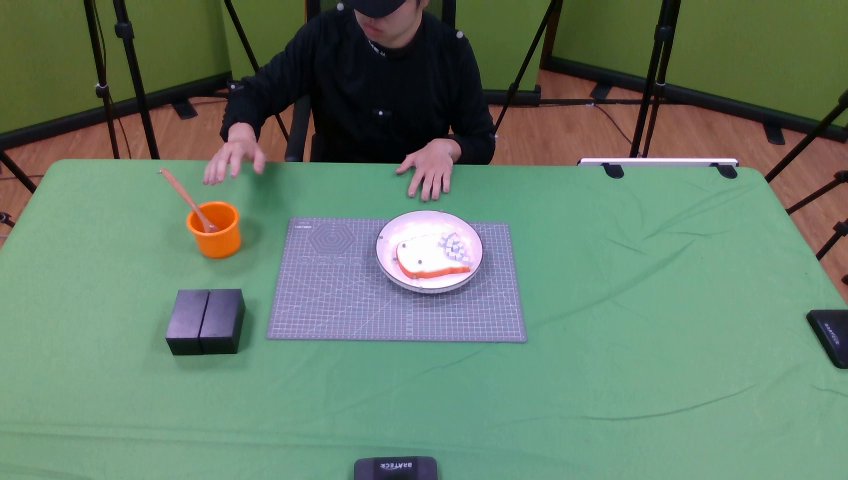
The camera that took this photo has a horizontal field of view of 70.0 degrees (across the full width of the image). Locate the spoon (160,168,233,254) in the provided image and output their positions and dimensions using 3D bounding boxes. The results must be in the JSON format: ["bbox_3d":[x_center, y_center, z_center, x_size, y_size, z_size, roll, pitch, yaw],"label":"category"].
[{"bbox_3d":[-0.424,-0.055,1.130,0.041,0.194,0.021,-42,18,-31],"label":"spoon"}]

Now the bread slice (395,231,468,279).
[{"bbox_3d":[0.011,0.030,1.158,0.132,0.019,0.104,-8,47,-14],"label":"bread slice"}]

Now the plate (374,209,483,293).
[{"bbox_3d":[0.009,0.024,1.160,0.209,0.038,0.208,2,46,-2],"label":"plate"}]
